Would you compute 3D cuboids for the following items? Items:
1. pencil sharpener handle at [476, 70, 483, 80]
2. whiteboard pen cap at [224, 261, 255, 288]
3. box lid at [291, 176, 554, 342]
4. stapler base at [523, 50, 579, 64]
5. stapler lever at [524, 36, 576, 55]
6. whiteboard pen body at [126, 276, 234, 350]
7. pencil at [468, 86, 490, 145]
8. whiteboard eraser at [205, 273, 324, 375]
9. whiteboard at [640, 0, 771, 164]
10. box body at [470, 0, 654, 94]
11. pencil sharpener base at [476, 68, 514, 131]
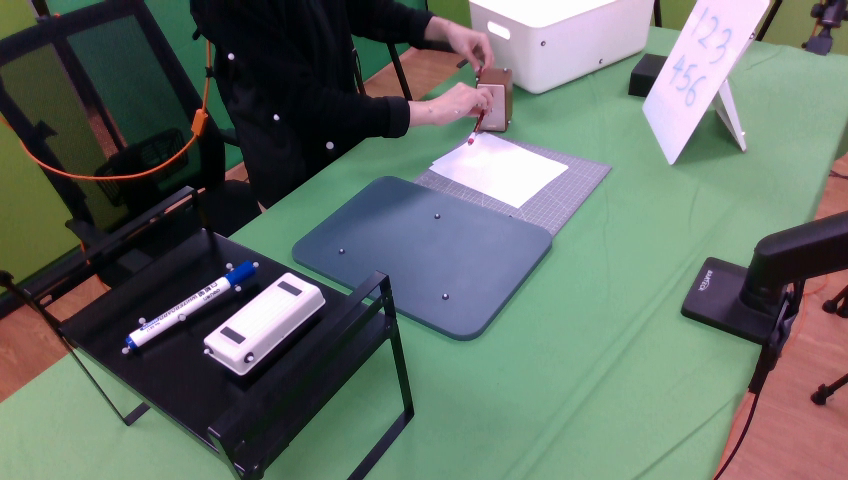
[{"bbox_3d":[0.142,-0.340,1.246,0.067,0.036,0.030,6,42,16],"label":"pencil sharpener handle"},{"bbox_3d":[-0.207,0.039,0.677,0.033,0.018,0.018,-36,47,-18],"label":"whiteboard pen cap"},{"bbox_3d":[-0.005,0.011,0.972,0.368,0.015,0.264,21,49,30],"label":"box lid"},{"bbox_3d":[0.301,-0.436,1.434,0.130,0.024,0.041,5,40,17],"label":"stapler base"},{"bbox_3d":[0.296,-0.456,1.418,0.117,0.040,0.027,4,40,17],"label":"stapler lever"},{"bbox_3d":[-0.251,0.070,0.649,0.141,0.017,0.017,-36,48,-26],"label":"whiteboard pen body"},{"bbox_3d":[0.105,-0.240,1.121,0.012,0.012,0.193,6,49,15],"label":"pencil"},{"bbox_3d":[-0.157,0.084,0.605,0.055,0.042,0.113,24,49,30],"label":"whiteboard eraser"},{"bbox_3d":[0.543,-0.299,1.076,0.144,0.305,0.216,12,40,-7],"label":"whiteboard"},{"bbox_3d":[0.319,-0.498,1.405,0.365,0.161,0.252,-26,43,-21],"label":"box body"},{"bbox_3d":[0.145,-0.285,1.223,0.061,0.107,0.076,6,42,17],"label":"pencil sharpener base"}]
